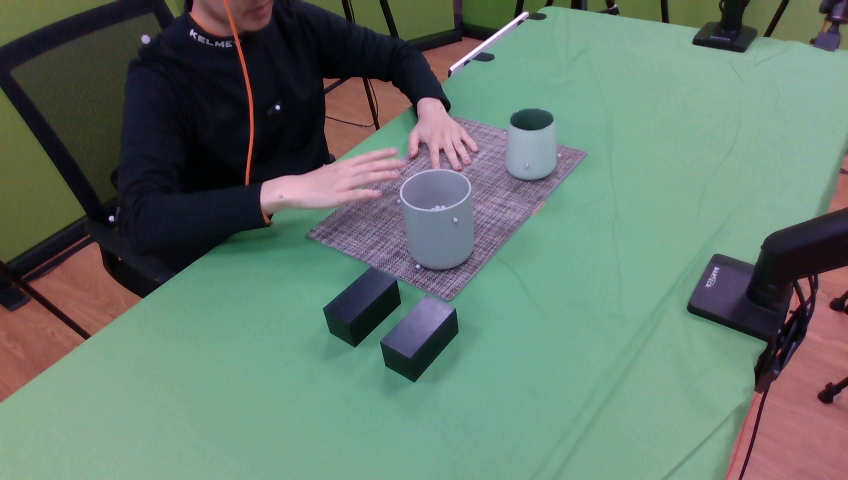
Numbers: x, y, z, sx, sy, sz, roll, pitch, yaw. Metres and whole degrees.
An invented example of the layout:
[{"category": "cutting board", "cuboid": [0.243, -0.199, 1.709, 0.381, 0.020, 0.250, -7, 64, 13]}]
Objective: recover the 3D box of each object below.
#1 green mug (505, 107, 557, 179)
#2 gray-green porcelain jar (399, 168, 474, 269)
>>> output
[{"category": "green mug", "cuboid": [0.189, -0.180, 1.082, 0.092, 0.105, 0.124, -6, 41, 2]}, {"category": "gray-green porcelain jar", "cuboid": [0.022, -0.027, 0.911, 0.106, 0.127, 0.105, -4, 41, 4]}]
